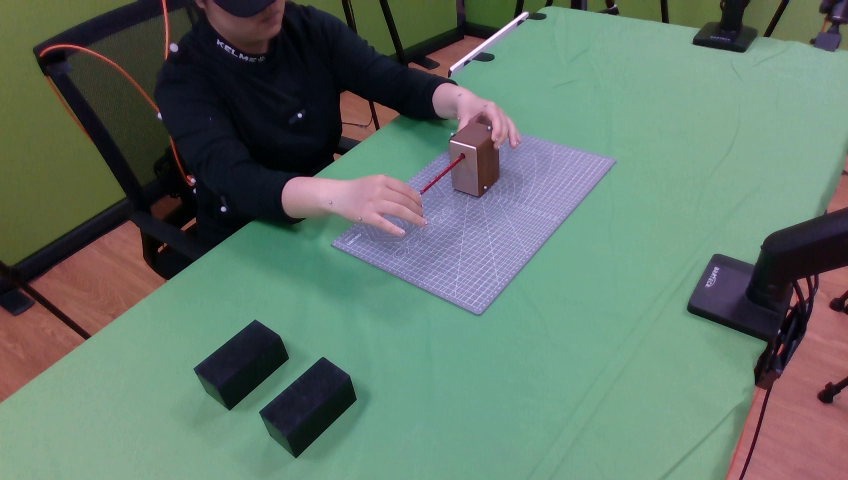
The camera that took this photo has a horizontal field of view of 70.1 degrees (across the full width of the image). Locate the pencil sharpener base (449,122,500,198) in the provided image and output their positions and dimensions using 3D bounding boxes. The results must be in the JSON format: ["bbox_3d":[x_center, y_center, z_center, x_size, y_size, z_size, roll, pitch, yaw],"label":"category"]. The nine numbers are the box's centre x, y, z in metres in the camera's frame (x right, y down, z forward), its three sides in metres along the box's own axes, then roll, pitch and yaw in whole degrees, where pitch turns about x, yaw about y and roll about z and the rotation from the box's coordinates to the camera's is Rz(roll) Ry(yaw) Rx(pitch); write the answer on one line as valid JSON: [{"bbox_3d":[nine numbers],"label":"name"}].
[{"bbox_3d":[0.090,-0.140,1.052,0.061,0.107,0.077,21,47,30],"label":"pencil sharpener base"}]

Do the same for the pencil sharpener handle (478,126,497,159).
[{"bbox_3d":[0.118,-0.179,1.075,0.035,0.068,0.031,22,48,28],"label":"pencil sharpener handle"}]

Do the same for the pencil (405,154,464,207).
[{"bbox_3d":[0.030,-0.107,0.979,0.012,0.012,0.194,20,46,29],"label":"pencil"}]
